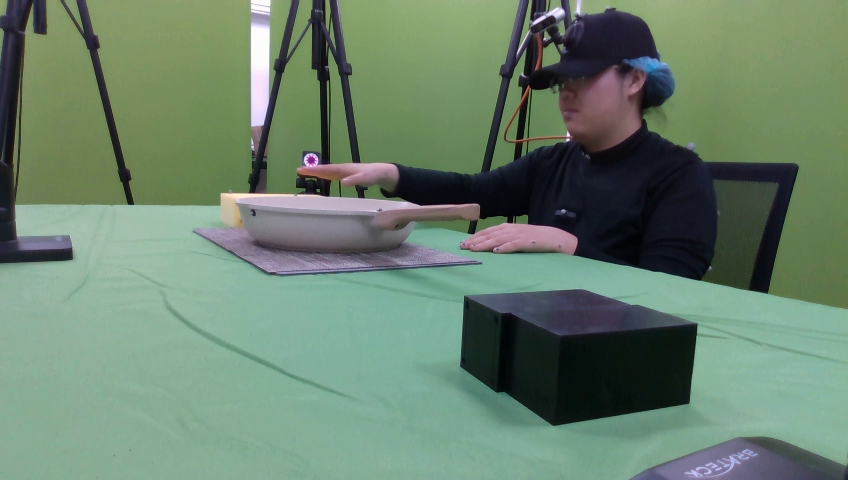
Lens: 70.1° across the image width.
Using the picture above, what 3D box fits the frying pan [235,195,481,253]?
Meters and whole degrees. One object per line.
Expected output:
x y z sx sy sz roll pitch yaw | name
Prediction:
-0.089 -0.034 0.891 0.308 0.102 0.485 -4 2 -36 | frying pan

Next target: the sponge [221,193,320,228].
-0.297 -0.062 1.234 0.208 0.061 0.117 -2 9 -31 | sponge
